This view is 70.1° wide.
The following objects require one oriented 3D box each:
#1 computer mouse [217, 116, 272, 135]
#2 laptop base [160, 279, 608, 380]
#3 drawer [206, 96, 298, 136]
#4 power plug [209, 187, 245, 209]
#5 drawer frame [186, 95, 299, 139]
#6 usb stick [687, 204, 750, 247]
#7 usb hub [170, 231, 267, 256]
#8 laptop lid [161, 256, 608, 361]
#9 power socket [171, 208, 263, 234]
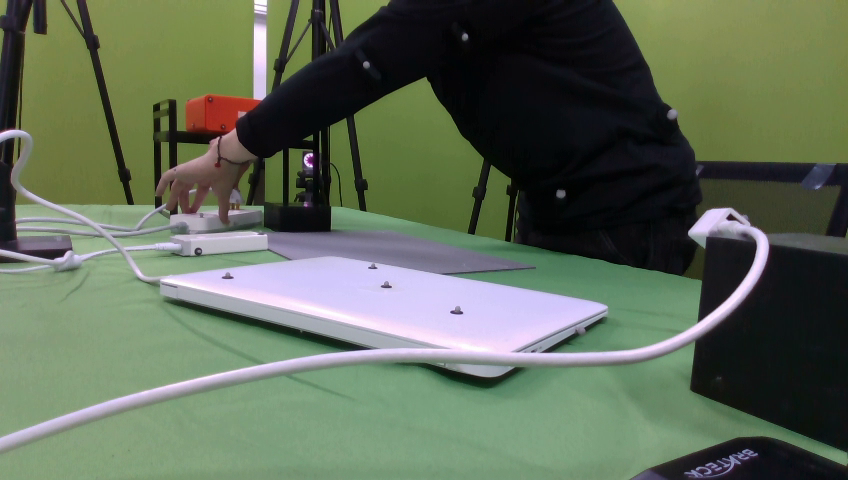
[{"bbox_3d":[-0.401,-0.257,1.353,0.118,0.041,0.062,-6,15,-34],"label":"computer mouse"},{"bbox_3d":[-0.039,0.059,0.555,0.352,0.023,0.237,8,7,33],"label":"laptop base"},{"bbox_3d":[-0.413,-0.275,1.376,0.195,0.073,0.210,-3,8,-31],"label":"drawer"},{"bbox_3d":[-0.390,-0.079,1.205,0.072,0.052,0.035,2,0,24],"label":"power plug"},{"bbox_3d":[-0.417,-0.277,1.378,0.203,0.082,0.212,-3,8,-32],"label":"drawer frame"},{"bbox_3d":[0.214,-0.010,0.448,0.021,0.027,0.059,39,2,6],"label":"usb stick"},{"bbox_3d":[-0.290,0.005,0.862,0.049,0.025,0.126,11,11,42],"label":"usb hub"},{"bbox_3d":[-0.037,0.046,0.555,0.355,0.013,0.243,8,8,35],"label":"laptop lid"},{"bbox_3d":[-0.380,-0.038,1.129,0.072,0.032,0.227,3,8,14],"label":"power socket"}]
